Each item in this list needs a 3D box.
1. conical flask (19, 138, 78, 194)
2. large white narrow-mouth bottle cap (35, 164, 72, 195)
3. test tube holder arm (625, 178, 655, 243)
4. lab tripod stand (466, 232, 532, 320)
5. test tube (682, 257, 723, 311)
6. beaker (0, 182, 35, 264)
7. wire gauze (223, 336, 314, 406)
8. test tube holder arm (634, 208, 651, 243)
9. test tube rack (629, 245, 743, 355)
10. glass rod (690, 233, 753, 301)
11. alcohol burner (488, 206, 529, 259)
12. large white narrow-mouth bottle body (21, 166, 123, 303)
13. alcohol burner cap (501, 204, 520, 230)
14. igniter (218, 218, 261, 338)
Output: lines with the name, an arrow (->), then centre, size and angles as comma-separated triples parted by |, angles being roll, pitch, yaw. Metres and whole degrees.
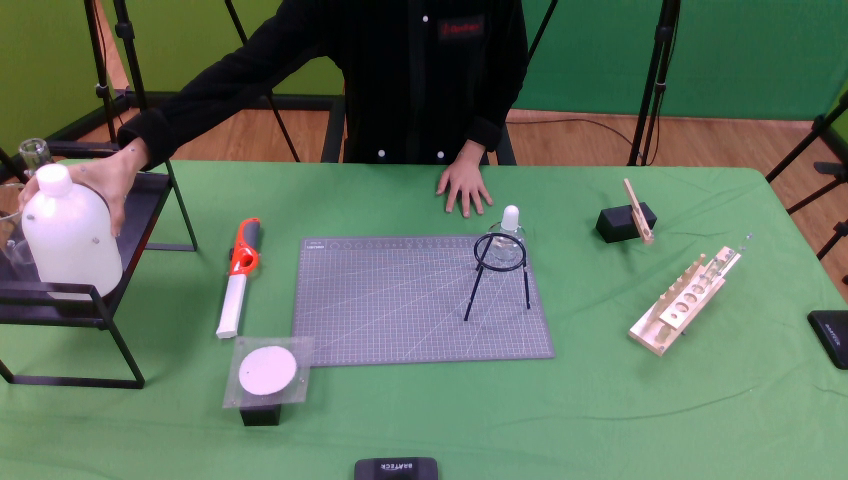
conical flask -> -0.576, -0.097, 0.930 | 0.075, 0.122, 0.075 | 2, 46, -2
large white narrow-mouth bottle cap -> -0.452, -0.074, 0.740 | 0.038, 0.024, 0.037 | 7, 42, -6
test tube holder arm -> 0.433, -0.062, 1.220 | 0.013, 0.015, 0.177 | 1, 47, -3
lab tripod stand -> 0.125, 0.059, 1.065 | 0.148, 0.132, 0.147 | 1, 45, 0
test tube -> 0.474, 0.080, 1.037 | 0.017, 0.151, 0.017 | 1, 50, -1
beaker -> -0.582, -0.019, 0.870 | 0.074, 0.101, 0.083 | 5, 46, 1
wire gauze -> -0.236, 0.197, 0.931 | 0.121, 0.011, 0.124 | 1, 45, -4
test tube holder arm -> 0.428, -0.030, 1.189 | 0.010, 0.015, 0.087 | 2, 47, -3
test tube rack -> 0.474, 0.095, 1.091 | 0.242, 0.085, 0.066 | -34, 56, -31
glass rod -> 0.507, 0.053, 1.041 | 0.008, 0.200, 0.008 | 5, 51, -6
alcohol burner -> 0.163, -0.020, 1.158 | 0.078, 0.120, 0.077 | 0, 47, 0
large white narrow-mouth bottle body -> -0.466, -0.012, 0.799 | 0.102, 0.195, 0.101 | 7, 42, -6
alcohol burner cap -> 0.164, -0.046, 1.133 | 0.034, 0.048, 0.033 | 2, 40, -2
igniter -> -0.336, 0.060, 1.111 | 0.057, 0.025, 0.274 | -7, 46, 4
